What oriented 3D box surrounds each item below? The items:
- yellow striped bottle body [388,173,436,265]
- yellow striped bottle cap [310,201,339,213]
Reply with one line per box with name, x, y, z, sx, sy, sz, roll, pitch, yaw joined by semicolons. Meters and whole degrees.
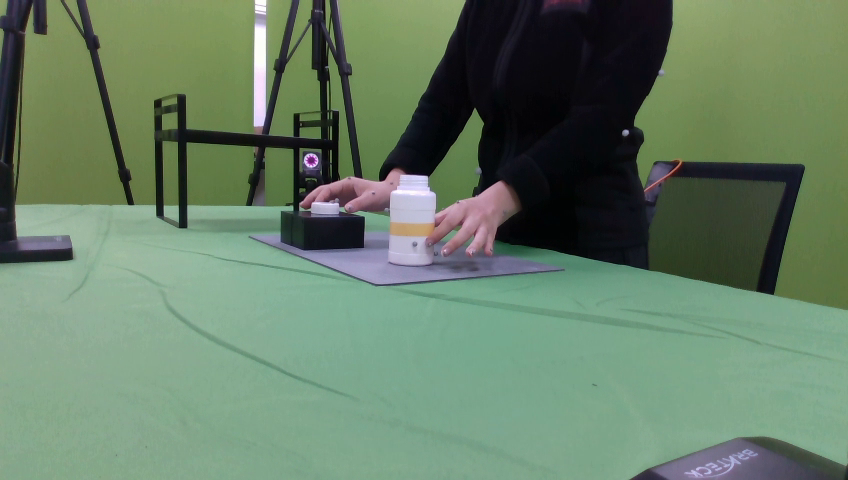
yellow striped bottle body;-0.016;-0.030;0.813;0.063;0.120;0.063;2;7;0
yellow striped bottle cap;-0.157;-0.051;0.955;0.044;0.018;0.044;4;4;0
